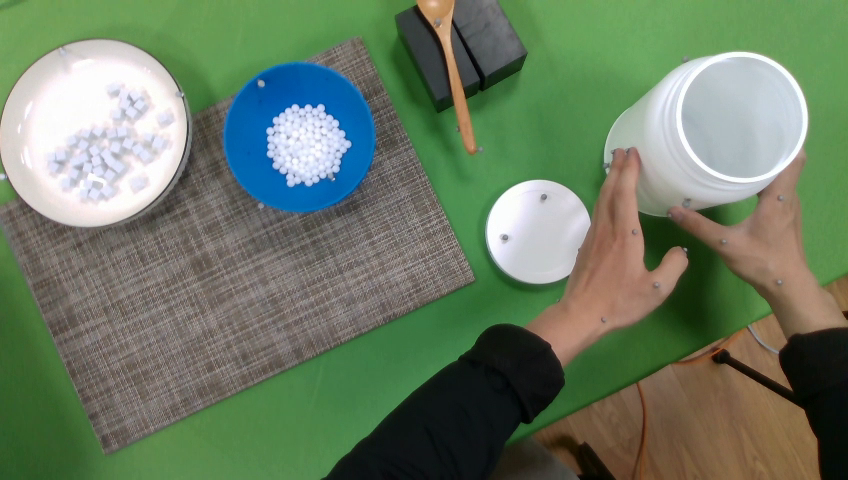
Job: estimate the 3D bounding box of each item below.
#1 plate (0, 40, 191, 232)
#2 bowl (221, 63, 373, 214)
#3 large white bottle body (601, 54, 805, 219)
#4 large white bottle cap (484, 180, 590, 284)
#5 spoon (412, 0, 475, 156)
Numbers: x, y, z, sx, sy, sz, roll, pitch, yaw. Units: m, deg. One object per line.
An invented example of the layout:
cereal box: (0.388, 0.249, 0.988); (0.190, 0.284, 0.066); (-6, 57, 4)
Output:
plate: (-0.351, -0.110, 0.657); (0.209, 0.038, 0.208); (0, 85, 2)
bowl: (-0.124, -0.098, 0.633); (0.151, 0.077, 0.151); (0, 88, 1)
large white bottle body: (0.257, -0.093, 0.579); (0.130, 0.185, 0.130); (0, 87, 1)
large white bottle cap: (0.123, -0.008, 0.661); (0.115, 0.018, 0.114); (0, 88, 0)
spoon: (0.024, -0.181, 0.621); (0.041, 0.021, 0.194); (-14, 93, -5)
